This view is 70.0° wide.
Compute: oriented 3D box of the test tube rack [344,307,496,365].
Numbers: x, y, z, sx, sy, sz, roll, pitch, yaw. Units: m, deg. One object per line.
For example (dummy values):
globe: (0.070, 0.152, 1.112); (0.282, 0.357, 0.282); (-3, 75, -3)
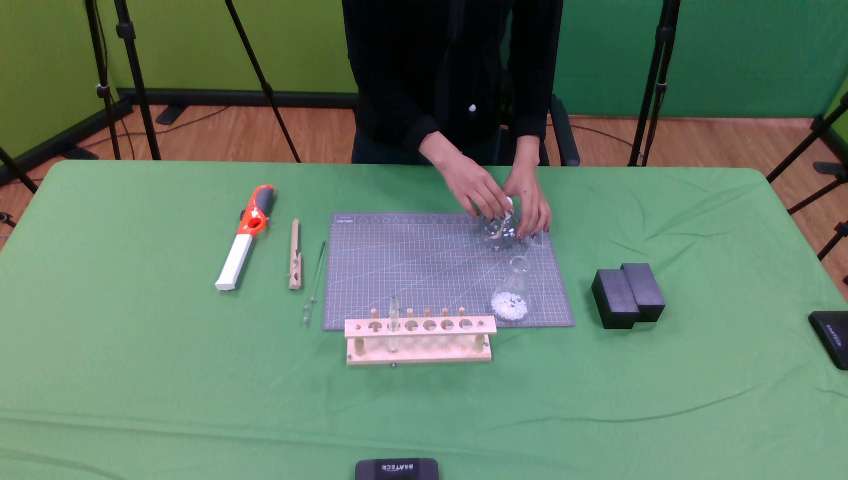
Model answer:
test tube rack: (-0.009, 0.154, 1.007); (0.242, 0.085, 0.066); (-1, 46, -5)

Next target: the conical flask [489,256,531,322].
conical flask: (0.158, 0.081, 1.061); (0.075, 0.122, 0.075); (2, 46, -2)

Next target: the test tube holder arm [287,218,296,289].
test tube holder arm: (-0.253, 0.022, 1.158); (0.013, 0.015, 0.177); (24, 36, -34)

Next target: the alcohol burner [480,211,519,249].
alcohol burner: (0.151, -0.039, 1.182); (0.078, 0.119, 0.077); (3, 47, -3)

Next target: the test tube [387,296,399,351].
test tube: (-0.049, 0.134, 0.953); (0.017, 0.151, 0.017); (2, 51, -3)

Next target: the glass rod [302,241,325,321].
glass rod: (-0.203, 0.071, 1.124); (0.008, 0.008, 0.198); (4, 44, 1)

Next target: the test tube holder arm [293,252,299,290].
test tube holder arm: (-0.241, 0.056, 1.131); (0.010, 0.015, 0.087); (25, 35, -33)

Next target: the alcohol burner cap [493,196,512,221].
alcohol burner cap: (0.152, -0.063, 1.155); (0.034, 0.048, 0.033); (3, 54, -4)

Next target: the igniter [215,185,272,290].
igniter: (-0.347, -0.014, 1.182); (0.057, 0.025, 0.275); (-1, 45, 8)
